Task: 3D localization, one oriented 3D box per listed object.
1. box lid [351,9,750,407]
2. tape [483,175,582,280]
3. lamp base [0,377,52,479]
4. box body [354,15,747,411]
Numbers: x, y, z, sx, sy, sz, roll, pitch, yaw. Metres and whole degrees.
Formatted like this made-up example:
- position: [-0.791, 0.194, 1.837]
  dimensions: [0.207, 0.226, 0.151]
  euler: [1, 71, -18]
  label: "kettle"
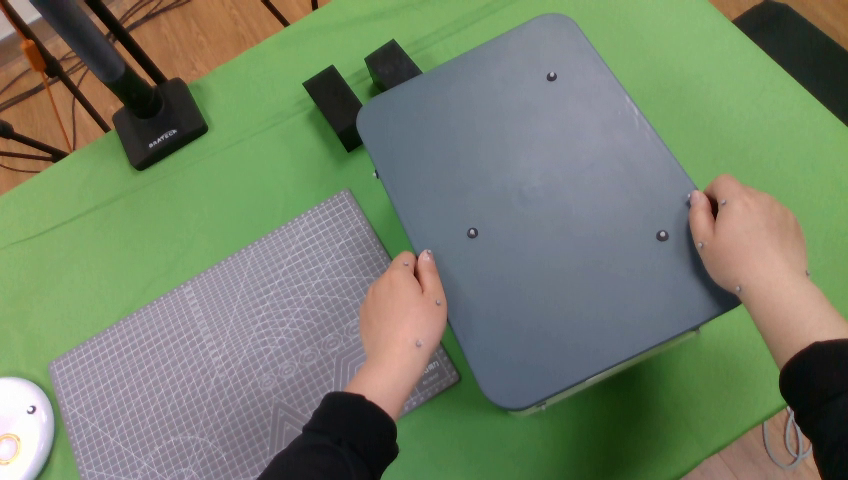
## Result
- position: [0.102, -0.055, 0.593]
  dimensions: [0.263, 0.015, 0.368]
  euler: [-26, 67, -1]
  label: "box lid"
- position: [0.127, -0.015, 0.710]
  dimensions: [0.117, 0.053, 0.116]
  euler: [-3, 68, 9]
  label: "tape"
- position: [-0.560, 0.219, 0.679]
  dimensions: [0.178, 0.182, 0.159]
  euler: [5, 69, 15]
  label: "lamp base"
- position: [0.116, -0.024, 0.661]
  dimensions: [0.254, 0.162, 0.361]
  euler: [-27, 67, -1]
  label: "box body"
